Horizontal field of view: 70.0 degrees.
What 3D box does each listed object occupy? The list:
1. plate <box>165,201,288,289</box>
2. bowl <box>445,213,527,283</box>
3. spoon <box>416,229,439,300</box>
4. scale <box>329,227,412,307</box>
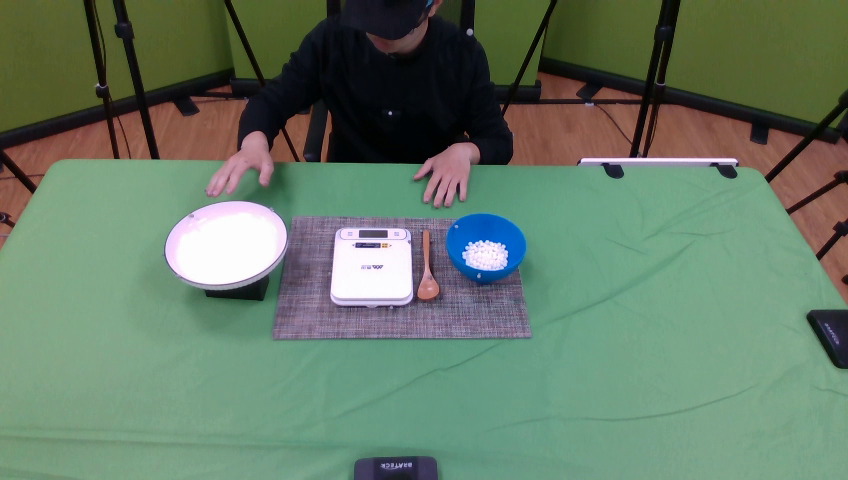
[{"bbox_3d":[-0.347,0.011,1.082,0.209,0.038,0.208,2,46,-2],"label":"plate"},{"bbox_3d":[0.112,0.027,1.136,0.151,0.077,0.150,2,46,-2],"label":"bowl"},{"bbox_3d":[0.005,0.043,1.152,0.041,0.022,0.192,-9,46,8],"label":"spoon"},{"bbox_3d":[-0.099,0.042,1.139,0.149,0.032,0.199,1,46,-4],"label":"scale"}]
